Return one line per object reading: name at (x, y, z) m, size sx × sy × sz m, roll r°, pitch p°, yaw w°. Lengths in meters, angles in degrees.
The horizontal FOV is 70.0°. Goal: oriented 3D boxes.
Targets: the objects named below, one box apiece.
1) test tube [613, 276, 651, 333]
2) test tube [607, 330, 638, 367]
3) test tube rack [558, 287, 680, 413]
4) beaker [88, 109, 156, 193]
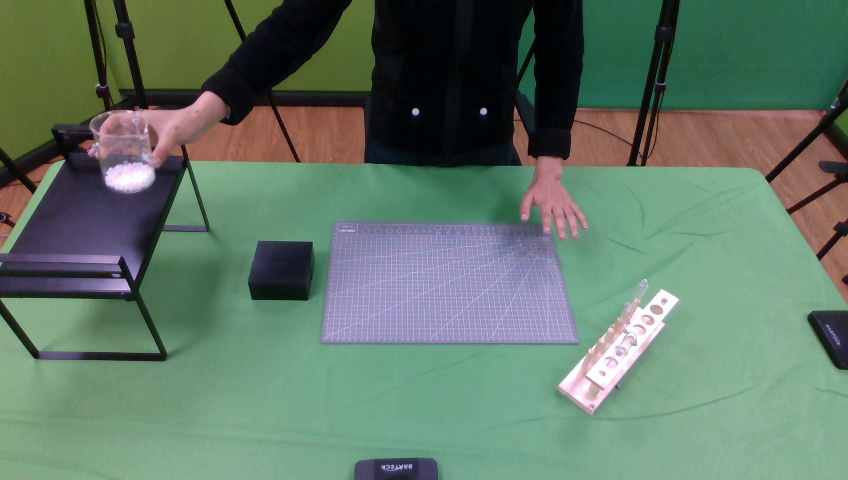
test tube at (0.344, 0.109, 1.007) m, size 0.017 × 0.151 × 0.017 m, roll 3°, pitch 49°, yaw -3°
test tube at (0.292, 0.184, 0.925) m, size 0.017 × 0.151 × 0.017 m, roll 4°, pitch 49°, yaw -4°
test tube rack at (0.326, 0.170, 1.009) m, size 0.066 × 0.085 × 0.242 m, roll 36°, pitch 54°, yaw 26°
beaker at (-0.425, -0.124, 0.868) m, size 0.084 × 0.101 × 0.074 m, roll 20°, pitch 40°, yaw 12°
